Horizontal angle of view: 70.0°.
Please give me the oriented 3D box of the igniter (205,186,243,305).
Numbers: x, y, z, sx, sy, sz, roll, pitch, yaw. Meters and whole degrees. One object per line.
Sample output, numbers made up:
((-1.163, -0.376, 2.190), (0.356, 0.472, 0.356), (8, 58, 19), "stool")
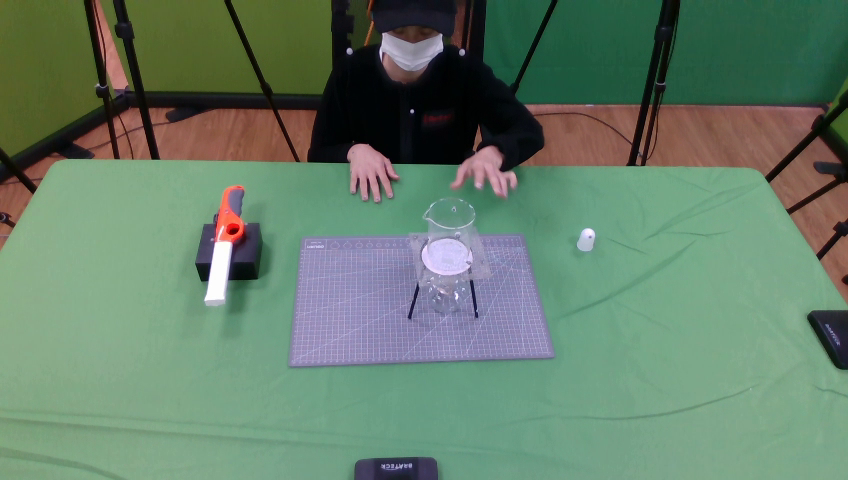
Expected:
((-0.361, 0.001, 1.100), (0.057, 0.025, 0.274), (-2, 49, -6), "igniter")

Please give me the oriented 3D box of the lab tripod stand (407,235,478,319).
((0.032, 0.065, 1.057), (0.148, 0.132, 0.147), (1, 45, -1), "lab tripod stand")

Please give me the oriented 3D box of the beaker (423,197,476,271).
((0.038, -0.007, 0.967), (0.084, 0.101, 0.073), (-4, 43, -7), "beaker")

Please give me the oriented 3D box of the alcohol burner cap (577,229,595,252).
((0.326, -0.002, 1.213), (0.034, 0.048, 0.033), (1, 47, -1), "alcohol burner cap")

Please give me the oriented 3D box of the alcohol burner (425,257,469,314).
((0.041, 0.074, 1.063), (0.078, 0.120, 0.077), (1, 46, -1), "alcohol burner")

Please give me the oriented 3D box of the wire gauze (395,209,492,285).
((0.031, 0.011, 0.995), (0.125, 0.011, 0.120), (-23, 53, -19), "wire gauze")
